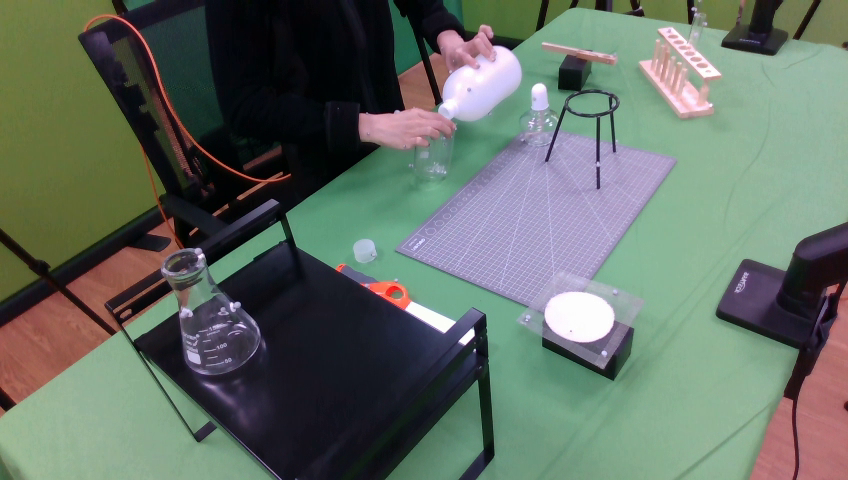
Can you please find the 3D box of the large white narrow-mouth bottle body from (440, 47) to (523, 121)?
[{"bbox_3d":[0.098,-0.282,1.137,0.101,0.102,0.195,23,50,32],"label":"large white narrow-mouth bottle body"}]

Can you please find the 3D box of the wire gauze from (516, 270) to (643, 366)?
[{"bbox_3d":[0.200,0.093,0.777,0.124,0.011,0.122,23,49,32],"label":"wire gauze"}]

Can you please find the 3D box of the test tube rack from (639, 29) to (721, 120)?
[{"bbox_3d":[0.527,-0.351,1.262,0.067,0.085,0.241,-8,40,1],"label":"test tube rack"}]

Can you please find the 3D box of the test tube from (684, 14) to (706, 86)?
[{"bbox_3d":[0.540,-0.378,1.215,0.017,0.151,0.017,-2,44,3],"label":"test tube"}]

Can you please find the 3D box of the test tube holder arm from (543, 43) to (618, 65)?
[{"bbox_3d":[0.344,-0.413,1.340,0.177,0.015,0.013,25,51,31],"label":"test tube holder arm"}]

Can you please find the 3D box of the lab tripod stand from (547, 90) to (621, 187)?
[{"bbox_3d":[0.288,-0.184,1.062,0.148,0.132,0.147,-6,41,6],"label":"lab tripod stand"}]

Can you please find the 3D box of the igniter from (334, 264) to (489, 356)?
[{"bbox_3d":[-0.030,0.095,0.871,0.274,0.025,0.057,22,59,31],"label":"igniter"}]

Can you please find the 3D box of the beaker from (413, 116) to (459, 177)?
[{"bbox_3d":[0.022,-0.171,1.111,0.084,0.100,0.073,-8,26,-39],"label":"beaker"}]

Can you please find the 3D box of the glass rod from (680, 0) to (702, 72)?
[{"bbox_3d":[0.542,-0.417,1.233,0.008,0.200,0.008,1,40,0],"label":"glass rod"}]

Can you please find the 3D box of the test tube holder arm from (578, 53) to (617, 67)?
[{"bbox_3d":[0.376,-0.393,1.314,0.087,0.015,0.010,26,51,32],"label":"test tube holder arm"}]

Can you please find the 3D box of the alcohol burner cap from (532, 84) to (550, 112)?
[{"bbox_3d":[0.218,-0.269,1.133,0.034,0.048,0.033,-8,36,7],"label":"alcohol burner cap"}]

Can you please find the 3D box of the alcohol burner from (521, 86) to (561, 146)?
[{"bbox_3d":[0.223,-0.241,1.155,0.078,0.119,0.077,-5,43,5],"label":"alcohol burner"}]

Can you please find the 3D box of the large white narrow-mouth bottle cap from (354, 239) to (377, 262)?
[{"bbox_3d":[-0.095,0.017,0.981,0.038,0.024,0.037,-4,40,4],"label":"large white narrow-mouth bottle cap"}]

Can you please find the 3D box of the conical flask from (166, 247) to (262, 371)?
[{"bbox_3d":[-0.209,0.064,0.584,0.075,0.122,0.075,-5,40,4],"label":"conical flask"}]
